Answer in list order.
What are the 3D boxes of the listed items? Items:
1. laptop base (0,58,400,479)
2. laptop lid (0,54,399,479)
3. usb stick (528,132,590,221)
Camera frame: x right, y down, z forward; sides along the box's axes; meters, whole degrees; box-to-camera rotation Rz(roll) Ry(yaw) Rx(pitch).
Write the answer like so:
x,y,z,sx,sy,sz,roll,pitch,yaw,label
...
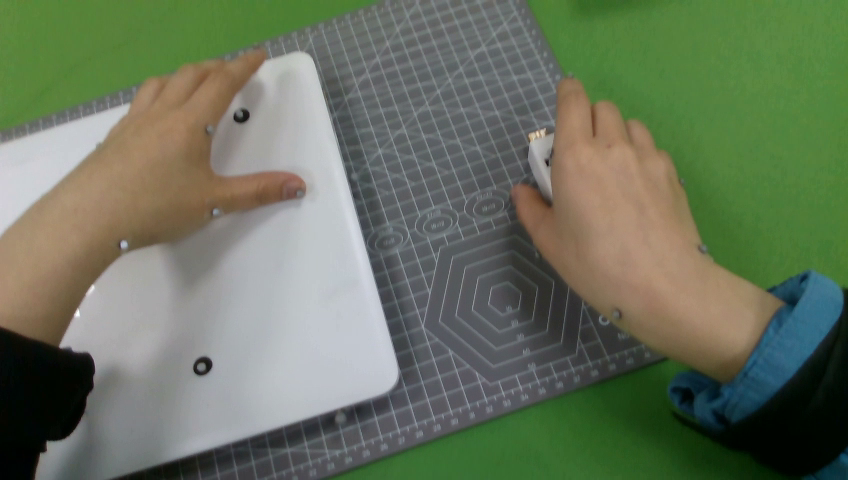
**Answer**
x,y,z,sx,sy,sz,roll,pitch,yaw,label
-0.209,0.033,0.373,0.354,0.023,0.234,-18,71,0,laptop base
-0.210,0.031,0.361,0.357,0.013,0.240,-16,70,1,laptop lid
0.077,-0.043,0.360,0.021,0.027,0.058,-18,64,0,usb stick
